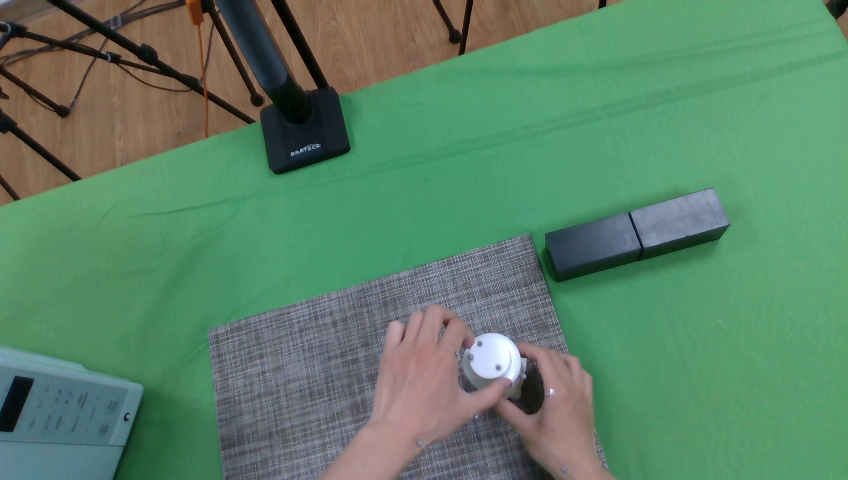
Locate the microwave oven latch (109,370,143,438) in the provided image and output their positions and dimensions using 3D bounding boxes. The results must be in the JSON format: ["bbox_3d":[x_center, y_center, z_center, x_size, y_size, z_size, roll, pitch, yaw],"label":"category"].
[{"bbox_3d":[-0.387,0.209,0.771,0.030,0.030,0.079,12,74,14],"label":"microwave oven latch"}]

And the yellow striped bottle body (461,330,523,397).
[{"bbox_3d":[0.077,0.138,0.676,0.062,0.121,0.062,-3,70,10],"label":"yellow striped bottle body"}]

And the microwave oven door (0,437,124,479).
[{"bbox_3d":[-0.459,0.378,0.616,0.039,0.246,0.354,10,73,15],"label":"microwave oven door"}]

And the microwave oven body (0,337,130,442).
[{"bbox_3d":[-0.588,0.317,0.668,0.325,0.262,0.439,10,74,14],"label":"microwave oven body"}]

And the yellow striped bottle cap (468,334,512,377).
[{"bbox_3d":[0.067,0.119,0.626,0.044,0.019,0.044,-3,74,12],"label":"yellow striped bottle cap"}]
